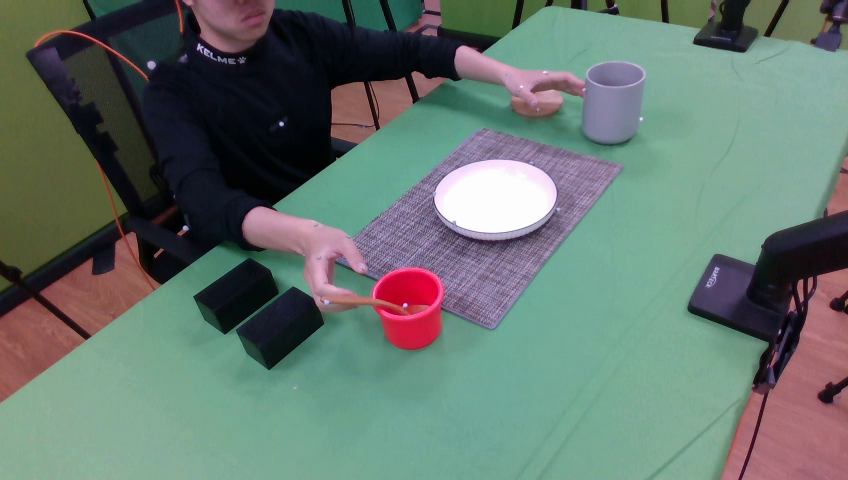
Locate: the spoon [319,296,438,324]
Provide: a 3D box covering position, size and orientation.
[{"bbox_3d":[-0.055,0.086,0.784,0.195,0.021,0.041,19,19,-44],"label":"spoon"}]

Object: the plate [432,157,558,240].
[{"bbox_3d":[0.118,-0.066,1.013,0.207,0.039,0.206,-4,41,4],"label":"plate"}]

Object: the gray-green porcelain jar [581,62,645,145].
[{"bbox_3d":[0.350,-0.251,1.131,0.106,0.127,0.105,-4,41,4],"label":"gray-green porcelain jar"}]

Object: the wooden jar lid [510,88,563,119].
[{"bbox_3d":[0.237,-0.286,1.271,0.108,0.021,0.108,-4,42,4],"label":"wooden jar lid"}]
